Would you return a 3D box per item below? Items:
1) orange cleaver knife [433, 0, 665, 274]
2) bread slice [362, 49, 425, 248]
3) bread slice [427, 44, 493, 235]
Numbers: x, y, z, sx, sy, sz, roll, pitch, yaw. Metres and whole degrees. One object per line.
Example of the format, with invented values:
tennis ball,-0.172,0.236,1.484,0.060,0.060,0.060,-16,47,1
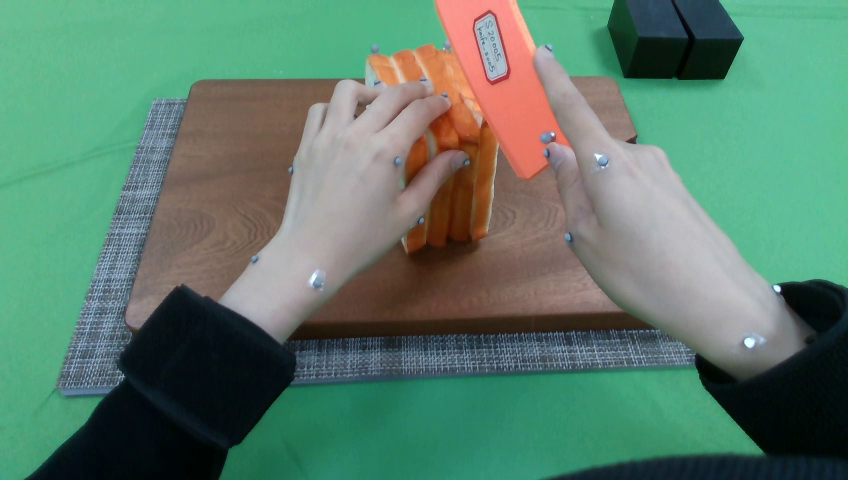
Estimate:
orange cleaver knife,0.060,-0.070,0.336,0.012,0.077,0.210,-22,77,-27
bread slice,-0.025,-0.074,0.446,0.018,0.108,0.132,-10,45,-13
bread slice,0.024,-0.085,0.453,0.019,0.106,0.130,-9,46,-9
